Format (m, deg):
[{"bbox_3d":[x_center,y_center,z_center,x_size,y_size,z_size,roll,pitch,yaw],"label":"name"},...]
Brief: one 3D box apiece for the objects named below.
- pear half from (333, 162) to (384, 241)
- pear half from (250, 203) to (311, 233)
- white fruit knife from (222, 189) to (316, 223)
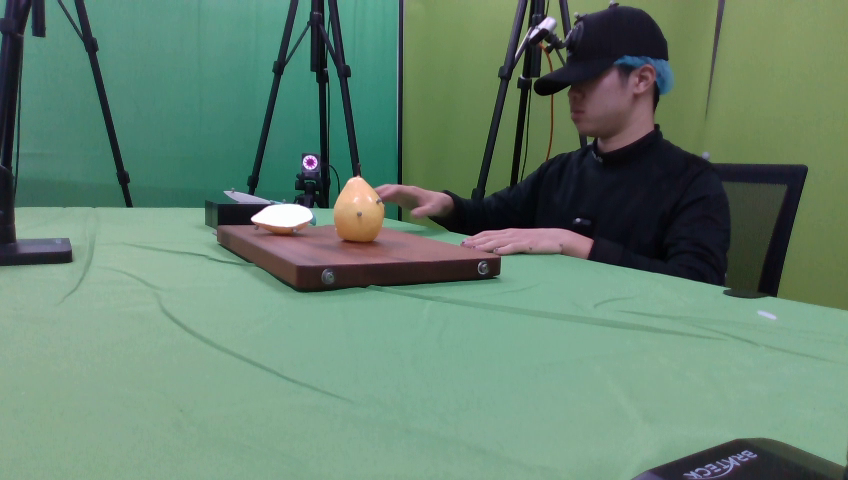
[{"bbox_3d":[-0.085,-0.053,0.842,0.056,0.110,0.076,6,12,28],"label":"pear half"},{"bbox_3d":[-0.212,-0.027,0.899,0.088,0.031,0.070,-16,31,-25],"label":"pear half"},{"bbox_3d":[-0.311,-0.071,1.236,0.208,0.027,0.016,16,7,-37],"label":"white fruit knife"}]
